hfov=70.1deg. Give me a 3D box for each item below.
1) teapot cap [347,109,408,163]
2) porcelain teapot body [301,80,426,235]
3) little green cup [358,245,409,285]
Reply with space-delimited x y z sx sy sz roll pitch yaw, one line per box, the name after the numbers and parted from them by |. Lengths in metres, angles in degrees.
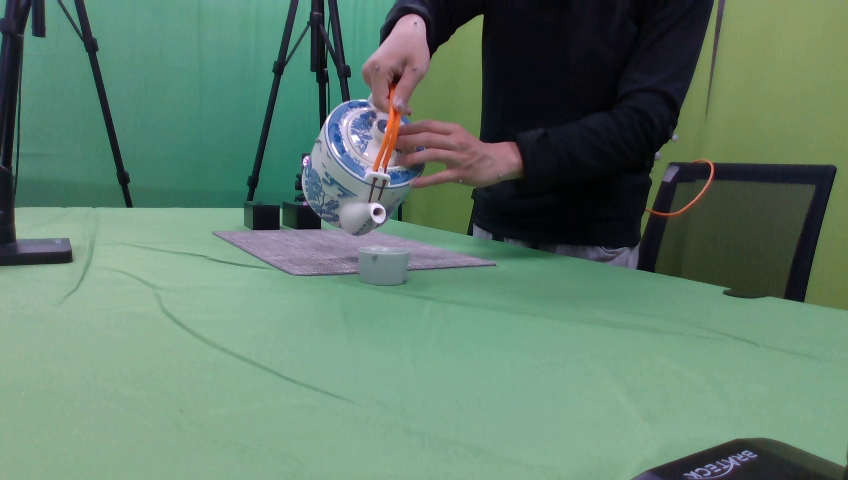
-0.058 -0.137 0.785 0.085 0.085 0.043 -1 -24 -27 | teapot cap
-0.071 -0.092 0.803 0.146 0.205 0.225 9 -31 -23 | porcelain teapot body
-0.048 0.029 0.707 0.061 0.038 0.061 2 8 0 | little green cup
